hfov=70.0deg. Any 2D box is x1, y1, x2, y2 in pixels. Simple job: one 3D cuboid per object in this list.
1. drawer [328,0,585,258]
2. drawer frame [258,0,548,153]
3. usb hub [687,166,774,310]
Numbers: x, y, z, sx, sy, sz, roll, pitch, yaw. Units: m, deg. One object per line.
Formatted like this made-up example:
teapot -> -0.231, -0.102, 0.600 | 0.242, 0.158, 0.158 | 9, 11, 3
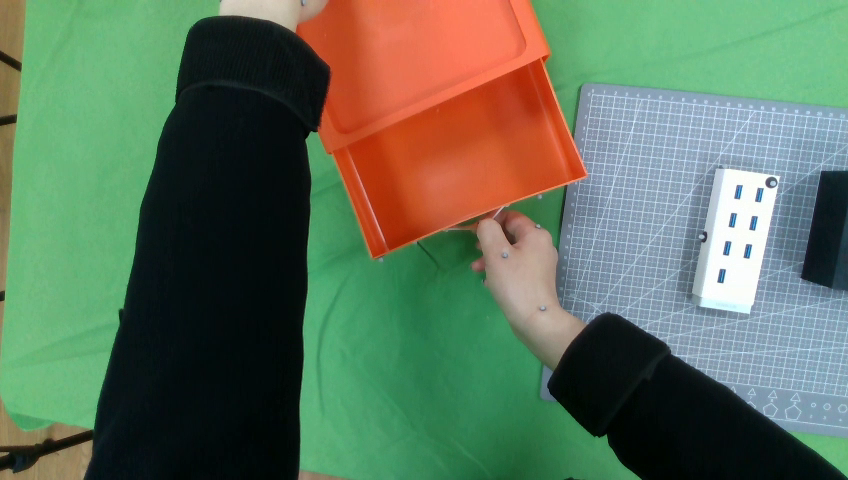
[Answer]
drawer -> 0.008, -0.116, 0.524 | 0.194, 0.073, 0.212 | -21, 95, 6
drawer frame -> -0.031, -0.207, 0.512 | 0.201, 0.082, 0.214 | -23, 94, 6
usb hub -> 0.275, -0.002, 0.545 | 0.049, 0.025, 0.125 | 8, 98, 3
